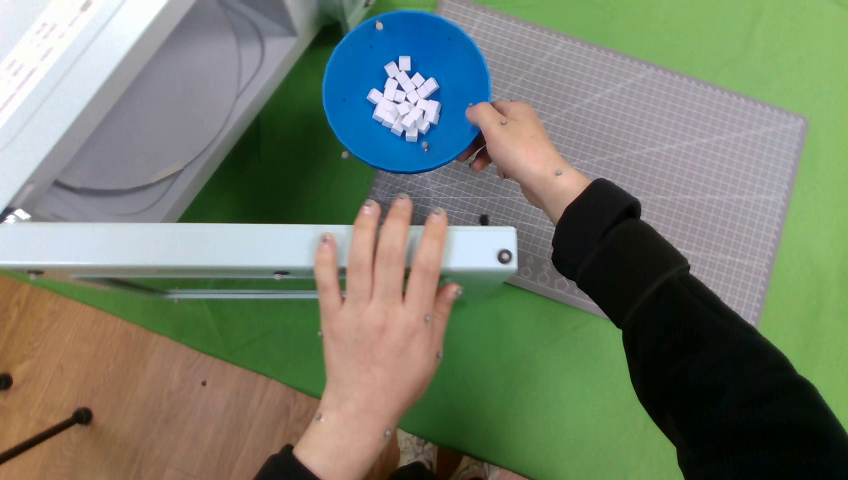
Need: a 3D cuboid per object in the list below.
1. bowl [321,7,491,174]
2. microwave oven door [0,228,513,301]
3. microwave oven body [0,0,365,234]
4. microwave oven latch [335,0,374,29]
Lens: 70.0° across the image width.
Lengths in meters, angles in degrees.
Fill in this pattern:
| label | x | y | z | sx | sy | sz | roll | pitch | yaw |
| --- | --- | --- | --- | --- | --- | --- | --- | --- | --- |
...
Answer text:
| label | x | y | z | sx | sy | sz | roll | pitch | yaw |
| --- | --- | --- | --- | --- | --- | --- | --- | --- | --- |
| bowl | -0.015 | -0.127 | 0.569 | 0.151 | 0.077 | 0.151 | 0 | 82 | 1 |
| microwave oven door | -0.116 | 0.024 | 0.522 | 0.356 | 0.244 | 0.039 | 1 | 79 | -1 |
| microwave oven body | -0.289 | -0.231 | 0.564 | 0.325 | 0.261 | 0.441 | 34 | 82 | 4 |
| microwave oven latch | -0.069 | -0.278 | 0.676 | 0.030 | 0.029 | 0.079 | 36 | 82 | 4 |
